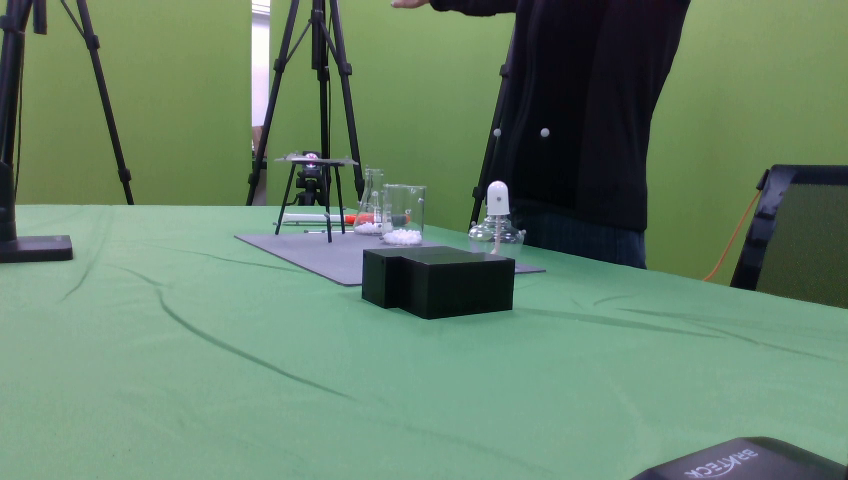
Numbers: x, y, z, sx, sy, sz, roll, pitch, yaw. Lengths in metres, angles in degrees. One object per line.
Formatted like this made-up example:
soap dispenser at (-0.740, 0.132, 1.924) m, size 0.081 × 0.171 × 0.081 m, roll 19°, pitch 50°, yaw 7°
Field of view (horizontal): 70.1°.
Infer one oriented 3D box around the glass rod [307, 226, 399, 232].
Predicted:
glass rod at (-0.134, -0.022, 1.183) m, size 0.201 × 0.008 × 0.008 m, roll -3°, pitch 8°, yaw -33°

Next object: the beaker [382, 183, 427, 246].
beaker at (-0.033, -0.044, 1.008) m, size 0.074 × 0.100 × 0.084 m, roll 6°, pitch 7°, yaw 22°

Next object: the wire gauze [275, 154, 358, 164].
wire gauze at (-0.179, -0.137, 1.028) m, size 0.121 × 0.011 × 0.125 m, roll 4°, pitch 8°, yaw 0°

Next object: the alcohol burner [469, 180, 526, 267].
alcohol burner at (0.101, -0.022, 0.822) m, size 0.078 × 0.119 × 0.078 m, roll 4°, pitch 8°, yaw 0°

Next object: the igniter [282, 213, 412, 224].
igniter at (-0.159, -0.046, 1.287) m, size 0.278 × 0.025 × 0.057 m, roll -1°, pitch -2°, yaw -21°

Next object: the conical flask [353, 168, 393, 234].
conical flask at (-0.094, -0.074, 1.126) m, size 0.075 × 0.122 × 0.075 m, roll 2°, pitch 7°, yaw 0°

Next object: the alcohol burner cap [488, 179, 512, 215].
alcohol burner cap at (0.101, -0.058, 0.817) m, size 0.034 × 0.048 × 0.034 m, roll -5°, pitch 8°, yaw 1°

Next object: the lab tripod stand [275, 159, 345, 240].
lab tripod stand at (-0.181, -0.072, 1.039) m, size 0.148 × 0.131 × 0.148 m, roll 4°, pitch 8°, yaw 0°
